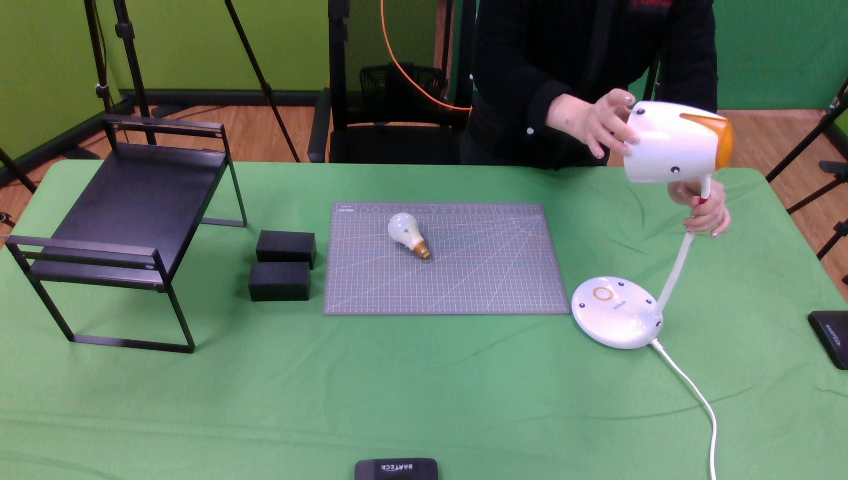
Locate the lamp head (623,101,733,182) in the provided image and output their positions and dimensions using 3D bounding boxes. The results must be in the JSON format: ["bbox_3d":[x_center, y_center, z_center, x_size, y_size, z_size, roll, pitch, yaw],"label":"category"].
[{"bbox_3d":[0.338,-0.124,0.798,0.122,0.113,0.112,14,44,33],"label":"lamp head"}]

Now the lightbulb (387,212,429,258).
[{"bbox_3d":[-0.027,-0.007,1.179,0.059,0.060,0.107,-31,71,-29],"label":"lightbulb"}]

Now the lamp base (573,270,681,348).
[{"bbox_3d":[0.361,0.080,1.035,0.160,0.181,0.178,-34,59,-30],"label":"lamp base"}]
